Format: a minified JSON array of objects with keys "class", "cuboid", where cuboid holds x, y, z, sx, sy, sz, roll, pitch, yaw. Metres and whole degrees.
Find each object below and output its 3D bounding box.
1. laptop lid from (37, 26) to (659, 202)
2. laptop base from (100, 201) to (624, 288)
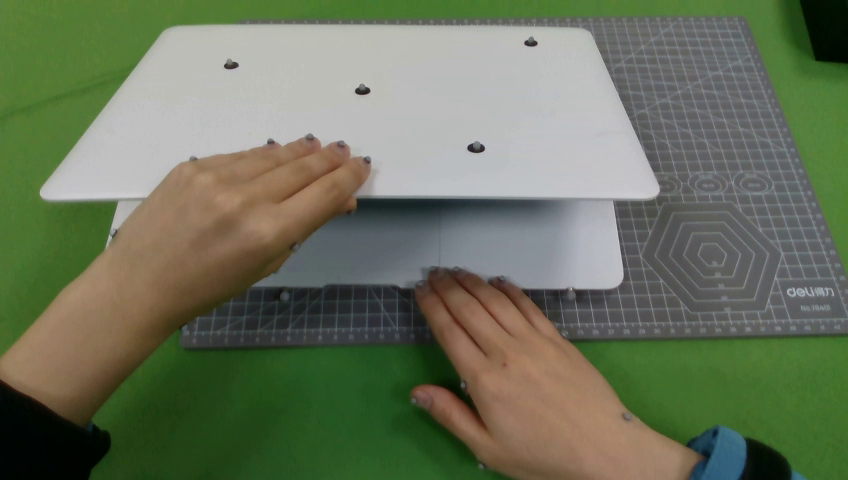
[{"class":"laptop lid","cuboid":[-0.041,-0.100,0.418,0.357,0.013,0.239,1,42,2]},{"class":"laptop base","cuboid":[-0.041,-0.069,0.460,0.354,0.023,0.233,0,64,0]}]
